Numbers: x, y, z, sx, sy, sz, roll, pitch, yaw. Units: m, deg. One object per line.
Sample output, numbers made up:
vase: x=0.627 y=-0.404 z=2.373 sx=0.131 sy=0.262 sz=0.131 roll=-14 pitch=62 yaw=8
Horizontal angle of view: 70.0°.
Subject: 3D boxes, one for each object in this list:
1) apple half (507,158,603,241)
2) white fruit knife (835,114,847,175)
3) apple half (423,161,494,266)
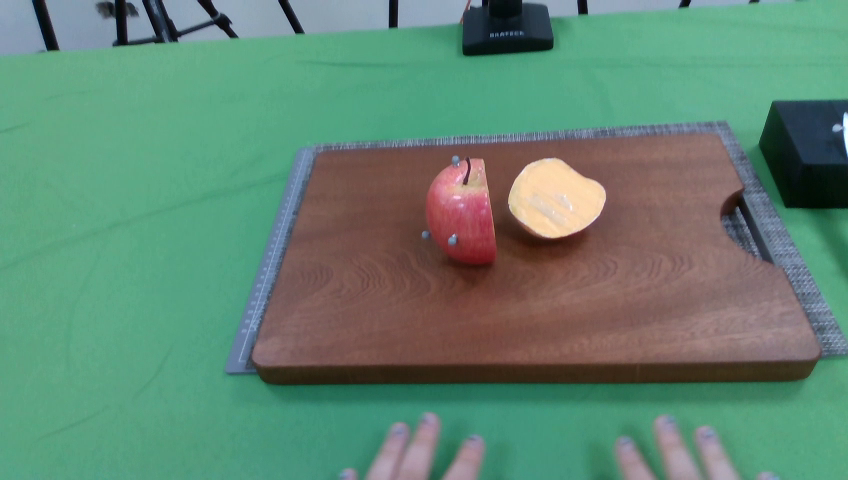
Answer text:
apple half: x=0.107 y=-0.027 z=0.514 sx=0.081 sy=0.033 sz=0.080 roll=-2 pitch=59 yaw=4
white fruit knife: x=0.360 y=-0.021 z=0.486 sx=0.027 sy=0.016 sz=0.205 roll=0 pitch=61 yaw=8
apple half: x=0.027 y=-0.019 z=0.487 sx=0.053 sy=0.075 sz=0.080 roll=-9 pitch=47 yaw=5
